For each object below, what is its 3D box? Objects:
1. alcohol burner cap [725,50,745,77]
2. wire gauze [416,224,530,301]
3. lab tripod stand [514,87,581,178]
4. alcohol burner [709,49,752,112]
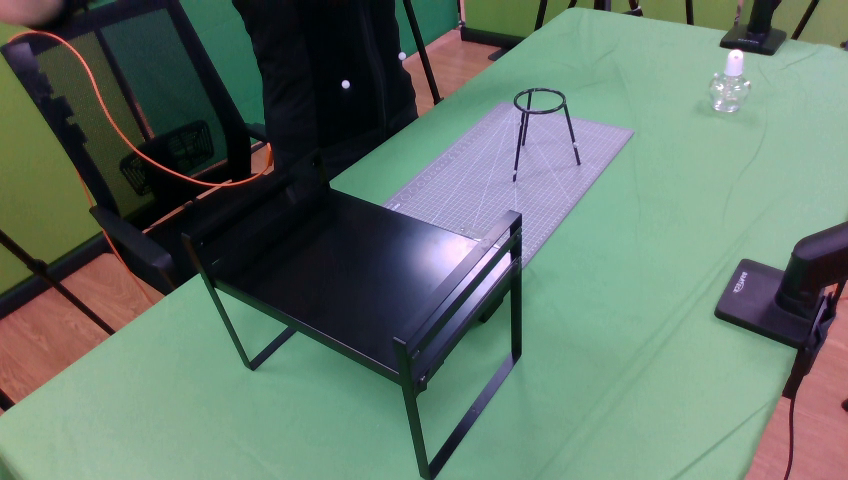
[{"bbox_3d":[0.596,-0.340,1.154,0.034,0.048,0.033,-8,45,8],"label":"alcohol burner cap"},{"bbox_3d":[0.071,0.025,0.872,0.124,0.011,0.122,27,50,33],"label":"wire gauze"},{"bbox_3d":[0.211,-0.196,1.083,0.148,0.132,0.147,-3,39,3],"label":"lab tripod stand"},{"bbox_3d":[0.600,-0.313,1.179,0.078,0.119,0.077,-6,40,5],"label":"alcohol burner"}]
